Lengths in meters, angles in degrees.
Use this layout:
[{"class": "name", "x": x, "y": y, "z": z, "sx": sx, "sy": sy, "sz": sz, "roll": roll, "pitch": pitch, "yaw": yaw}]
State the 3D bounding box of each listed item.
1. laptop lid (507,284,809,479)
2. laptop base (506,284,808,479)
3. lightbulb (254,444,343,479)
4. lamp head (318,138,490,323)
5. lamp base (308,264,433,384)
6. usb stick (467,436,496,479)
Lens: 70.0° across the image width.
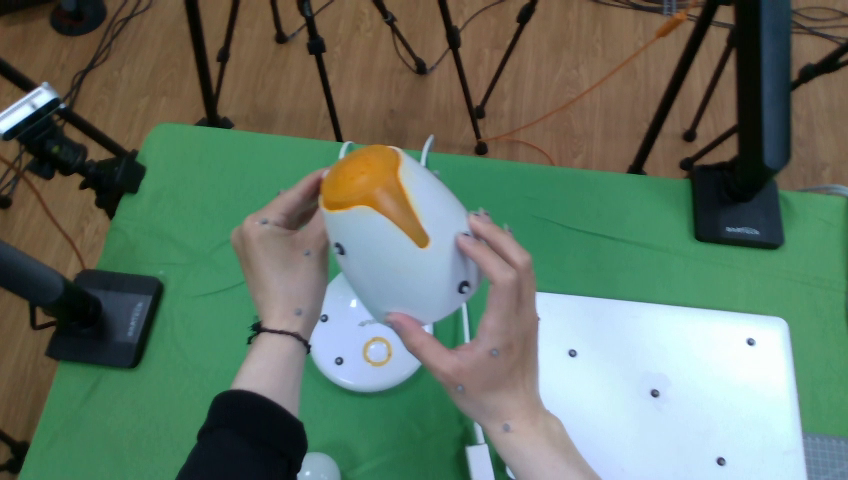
[{"class": "laptop lid", "x": 0.283, "y": 0.180, "z": 0.742, "sx": 0.356, "sy": 0.013, "sz": 0.240, "roll": 7, "pitch": 67, "yaw": 2}, {"class": "laptop base", "x": 0.283, "y": 0.183, "z": 0.754, "sx": 0.354, "sy": 0.023, "sz": 0.234, "roll": 6, "pitch": 69, "yaw": 2}, {"class": "lightbulb", "x": -0.146, "y": 0.263, "z": 0.694, "sx": 0.107, "sy": 0.060, "sz": 0.059, "roll": -1, "pitch": 65, "yaw": 15}, {"class": "lamp head", "x": -0.025, "y": -0.017, "z": 0.452, "sx": 0.112, "sy": 0.124, "sz": 0.111, "roll": -22, "pitch": 38, "yaw": 19}, {"class": "lamp base", "x": -0.073, "y": 0.063, "z": 0.712, "sx": 0.161, "sy": 0.181, "sz": 0.177, "roll": -22, "pitch": 65, "yaw": -10}, {"class": "usb stick", "x": 0.068, "y": 0.262, "z": 0.711, "sx": 0.027, "sy": 0.021, "sz": 0.059, "roll": -7, "pitch": 75, "yaw": -4}]
